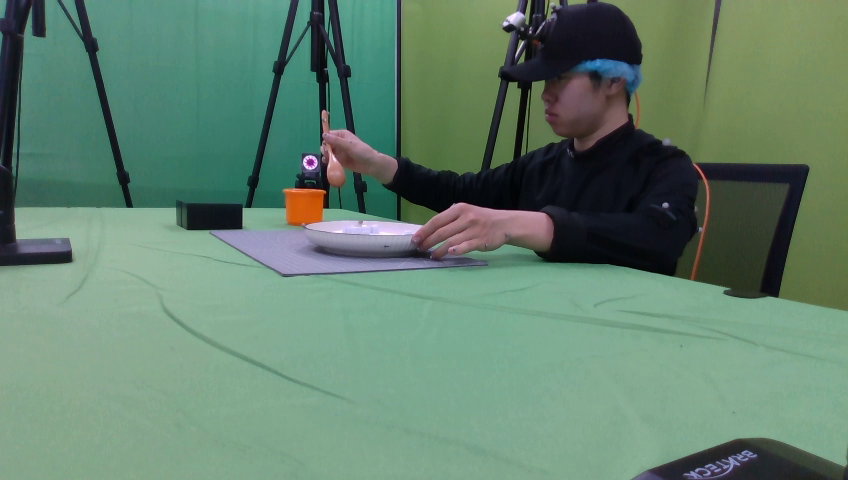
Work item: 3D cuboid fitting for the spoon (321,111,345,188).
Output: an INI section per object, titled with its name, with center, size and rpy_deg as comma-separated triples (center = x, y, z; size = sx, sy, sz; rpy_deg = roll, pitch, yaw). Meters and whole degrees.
[spoon]
center = -0.197, -0.192, 1.257
size = 0.042, 0.193, 0.021
rpy_deg = 3, -34, -32

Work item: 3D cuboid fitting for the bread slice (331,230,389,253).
[bread slice]
center = -0.088, 0.000, 0.947
size = 0.105, 0.019, 0.131
rpy_deg = -4, 11, -45

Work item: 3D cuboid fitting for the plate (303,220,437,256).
[plate]
center = -0.084, -0.003, 0.951
size = 0.209, 0.038, 0.209
rpy_deg = 3, 7, 0
